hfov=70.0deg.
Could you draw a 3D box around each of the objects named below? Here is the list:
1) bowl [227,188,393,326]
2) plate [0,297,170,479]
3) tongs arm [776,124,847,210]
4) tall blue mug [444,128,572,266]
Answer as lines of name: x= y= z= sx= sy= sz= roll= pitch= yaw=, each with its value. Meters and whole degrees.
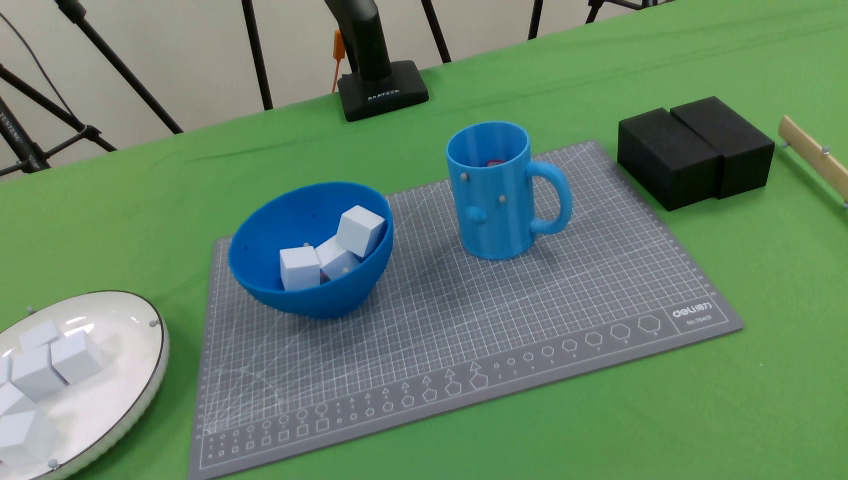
bowl: x=-0.096 y=0.027 z=0.564 sx=0.151 sy=0.077 sz=0.150 roll=-8 pitch=40 yaw=7
plate: x=-0.323 y=0.138 z=0.534 sx=0.209 sy=0.038 sz=0.207 roll=-7 pitch=40 yaw=6
tongs arm: x=0.411 y=0.007 z=0.487 sx=0.051 sy=0.027 sz=0.380 roll=-8 pitch=41 yaw=0
tall blue mug: x=0.080 y=-0.041 z=0.571 sx=0.107 sy=0.109 sz=0.077 roll=-8 pitch=40 yaw=7
